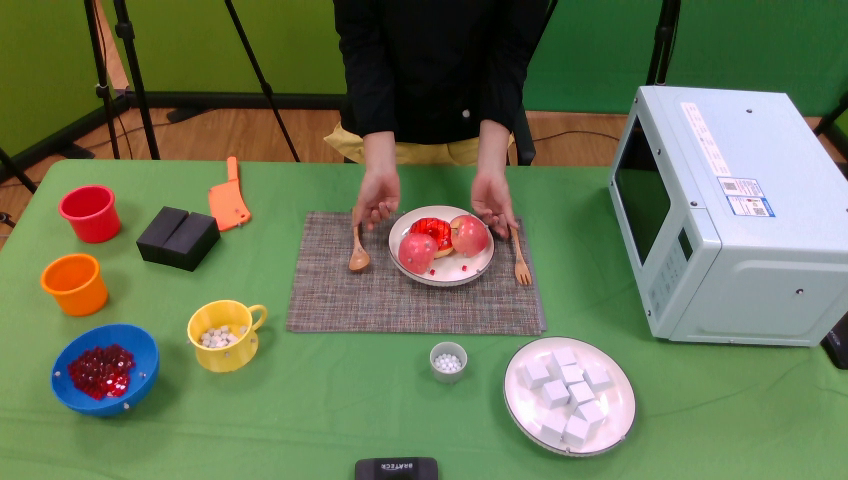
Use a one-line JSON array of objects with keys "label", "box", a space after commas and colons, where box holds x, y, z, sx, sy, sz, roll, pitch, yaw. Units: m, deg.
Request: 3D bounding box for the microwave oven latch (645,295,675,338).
[{"label": "microwave oven latch", "box": [0.412, 0.134, 1.062, 0.030, 0.029, 0.078, 3, 45, 0]}]

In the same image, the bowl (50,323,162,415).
[{"label": "bowl", "box": [-0.472, 0.209, 0.924, 0.151, 0.077, 0.150, 3, 45, -2]}]

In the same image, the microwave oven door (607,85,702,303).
[{"label": "microwave oven door", "box": [0.423, -0.094, 1.140, 0.039, 0.245, 0.353, 2, 46, -1]}]

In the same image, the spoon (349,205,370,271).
[{"label": "spoon", "box": [-0.131, -0.008, 1.190, 0.041, 0.022, 0.192, -20, 46, 10]}]

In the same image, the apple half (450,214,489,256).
[{"label": "apple half", "box": [0.092, -0.013, 1.158, 0.075, 0.053, 0.080, 34, 39, -28]}]

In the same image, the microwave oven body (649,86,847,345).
[{"label": "microwave oven body", "box": [0.568, -0.053, 1.119, 0.326, 0.261, 0.439, 2, 45, -1]}]

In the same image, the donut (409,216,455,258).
[{"label": "donut", "box": [0.020, -0.007, 1.174, 0.099, 0.048, 0.098, 1, 46, -1]}]

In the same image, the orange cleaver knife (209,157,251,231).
[{"label": "orange cleaver knife", "box": [-0.409, -0.099, 1.266, 0.077, 0.012, 0.210, -14, 50, -10]}]

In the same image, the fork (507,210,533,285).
[{"label": "fork", "box": [0.185, 0.012, 1.197, 0.028, 0.019, 0.206, -5, 48, 0]}]

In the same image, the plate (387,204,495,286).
[{"label": "plate", "box": [0.033, 0.014, 1.171, 0.209, 0.038, 0.208, 3, 46, -2]}]

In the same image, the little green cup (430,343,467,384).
[{"label": "little green cup", "box": [0.039, 0.203, 0.993, 0.061, 0.039, 0.061, 2, 46, -2]}]

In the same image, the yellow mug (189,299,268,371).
[{"label": "yellow mug", "box": [-0.316, 0.148, 1.002, 0.131, 0.064, 0.099, -33, 56, -31]}]

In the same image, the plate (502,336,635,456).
[{"label": "plate", "box": [0.225, 0.248, 0.964, 0.208, 0.039, 0.206, 2, 46, -2]}]

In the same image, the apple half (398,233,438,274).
[{"label": "apple half", "box": [-0.016, 0.022, 1.123, 0.081, 0.033, 0.081, -2, 83, 14]}]
